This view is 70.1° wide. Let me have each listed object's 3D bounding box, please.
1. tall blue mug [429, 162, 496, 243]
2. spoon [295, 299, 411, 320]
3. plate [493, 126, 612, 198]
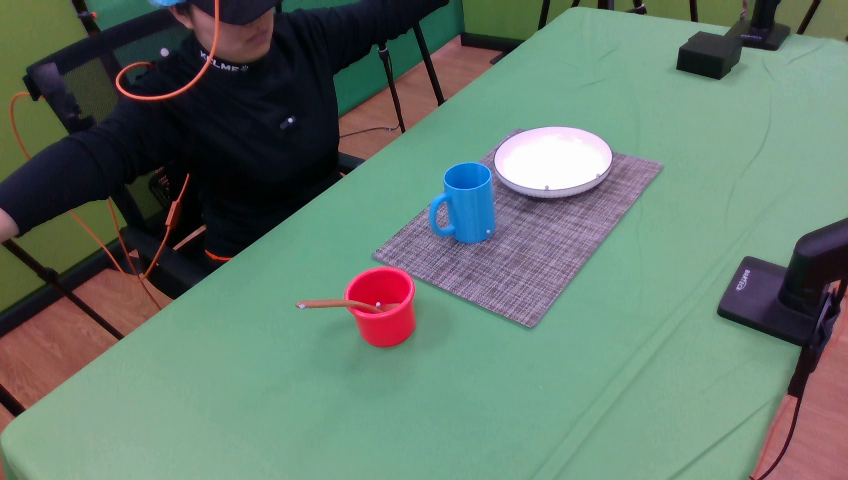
[{"bbox_3d":[0.066,-0.051,0.960,0.077,0.108,0.107,17,47,27],"label":"tall blue mug"},{"bbox_3d":[-0.090,0.089,0.805,0.195,0.021,0.041,15,12,-47],"label":"spoon"},{"bbox_3d":[0.229,-0.136,1.085,0.207,0.039,0.206,-5,40,5],"label":"plate"}]
